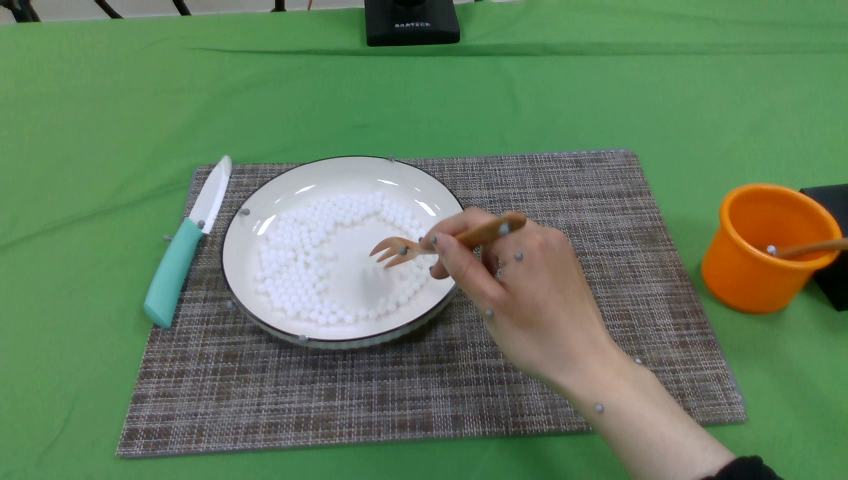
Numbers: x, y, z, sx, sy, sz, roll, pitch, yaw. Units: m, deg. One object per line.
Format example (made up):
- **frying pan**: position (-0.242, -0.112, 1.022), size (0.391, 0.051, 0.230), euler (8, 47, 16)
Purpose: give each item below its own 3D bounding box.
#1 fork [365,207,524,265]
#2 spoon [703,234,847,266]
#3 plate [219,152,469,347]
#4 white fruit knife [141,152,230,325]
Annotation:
- **fork**: position (0.006, 0.000, 0.427), size (0.028, 0.206, 0.018), euler (41, 69, -17)
- **spoon**: position (0.302, 0.005, 0.458), size (0.041, 0.193, 0.022), euler (-32, 100, -28)
- **plate**: position (-0.065, 0.005, 0.519), size (0.209, 0.038, 0.207), euler (0, 49, 0)
- **white fruit knife**: position (-0.210, -0.013, 0.549), size (0.027, 0.016, 0.205), euler (23, 44, -18)
